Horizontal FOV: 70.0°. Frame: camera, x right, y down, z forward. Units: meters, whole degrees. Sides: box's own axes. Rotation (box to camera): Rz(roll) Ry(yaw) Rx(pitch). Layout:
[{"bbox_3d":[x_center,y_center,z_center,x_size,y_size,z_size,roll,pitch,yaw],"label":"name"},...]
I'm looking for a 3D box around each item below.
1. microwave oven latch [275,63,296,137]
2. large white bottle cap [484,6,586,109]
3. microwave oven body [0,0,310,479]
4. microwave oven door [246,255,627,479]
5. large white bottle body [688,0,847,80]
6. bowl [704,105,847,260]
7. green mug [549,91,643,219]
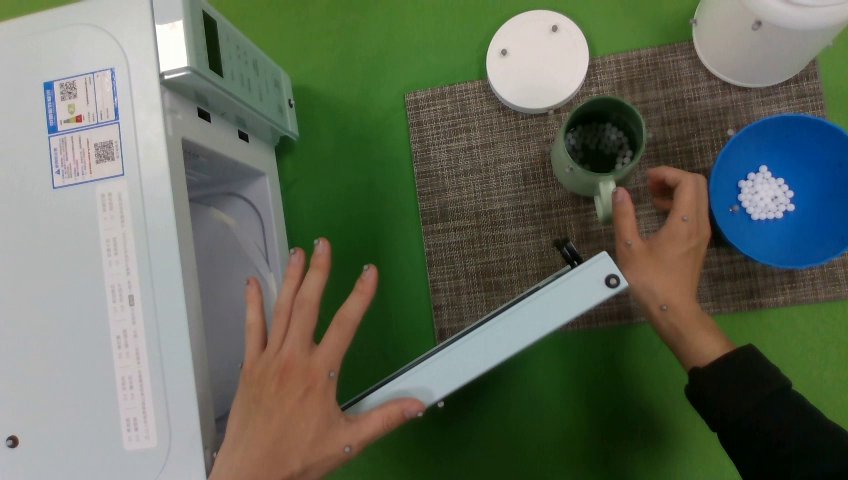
[{"bbox_3d":[-0.172,-0.163,0.710,0.030,0.029,0.079,-10,86,8],"label":"microwave oven latch"},{"bbox_3d":[0.125,-0.207,0.688,0.114,0.018,0.114,-1,86,9],"label":"large white bottle cap"},{"bbox_3d":[-0.304,0.030,0.624,0.326,0.261,0.440,-10,86,8],"label":"microwave oven body"},{"bbox_3d":[0.011,0.120,0.564,0.356,0.244,0.039,-34,81,6],"label":"microwave oven door"},{"bbox_3d":[0.337,-0.245,0.571,0.130,0.185,0.130,-1,83,10],"label":"large white bottle body"},{"bbox_3d":[0.354,-0.052,0.612,0.151,0.077,0.151,-1,87,10],"label":"bowl"},{"bbox_3d":[0.181,-0.084,0.629,0.092,0.105,0.125,-10,85,8],"label":"green mug"}]
